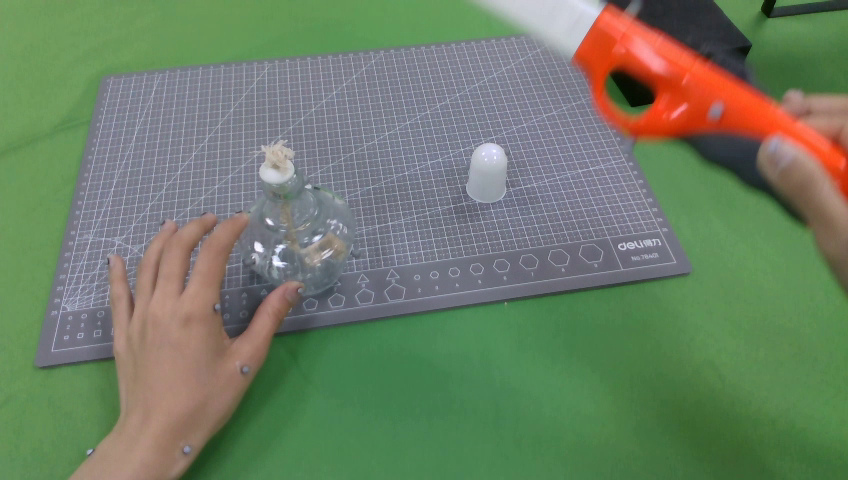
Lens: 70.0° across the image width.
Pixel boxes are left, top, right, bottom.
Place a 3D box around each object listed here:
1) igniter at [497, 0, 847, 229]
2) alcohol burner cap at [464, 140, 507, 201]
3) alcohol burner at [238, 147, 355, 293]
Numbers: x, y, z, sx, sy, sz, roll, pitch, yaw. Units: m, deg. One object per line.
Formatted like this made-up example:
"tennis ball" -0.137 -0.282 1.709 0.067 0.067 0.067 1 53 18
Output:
"igniter" 0.094 -0.100 0.306 0.275 0.057 0.025 38 25 11
"alcohol burner cap" 0.049 -0.056 0.466 0.034 0.048 0.033 1 53 -1
"alcohol burner" -0.085 -0.017 0.391 0.078 0.120 0.077 0 55 1
